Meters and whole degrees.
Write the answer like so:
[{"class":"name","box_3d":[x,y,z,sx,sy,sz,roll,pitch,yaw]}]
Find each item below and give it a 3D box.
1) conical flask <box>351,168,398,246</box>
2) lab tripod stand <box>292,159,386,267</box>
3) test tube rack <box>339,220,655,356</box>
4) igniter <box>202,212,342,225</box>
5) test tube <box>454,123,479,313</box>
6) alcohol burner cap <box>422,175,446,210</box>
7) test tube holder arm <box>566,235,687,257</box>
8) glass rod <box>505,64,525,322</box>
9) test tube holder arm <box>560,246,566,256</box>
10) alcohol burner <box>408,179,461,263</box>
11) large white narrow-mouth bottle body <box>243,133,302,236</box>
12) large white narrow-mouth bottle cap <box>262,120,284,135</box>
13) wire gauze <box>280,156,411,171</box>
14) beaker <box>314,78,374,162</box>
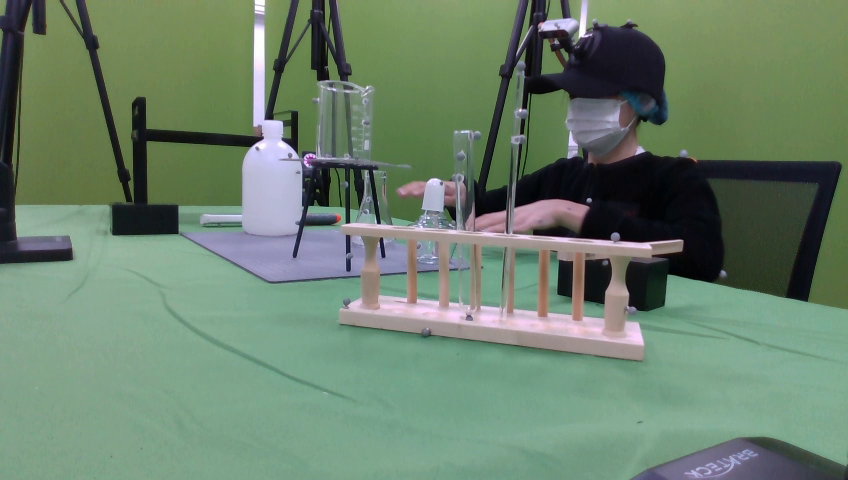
[{"class":"conical flask","box_3d":[-0.078,-0.053,0.962,0.075,0.122,0.075,2,7,0]},{"class":"lab tripod stand","box_3d":[-0.105,-0.039,0.797,0.148,0.131,0.148,2,5,0]},{"class":"test tube rack","box_3d":[0.056,0.032,0.495,0.242,0.085,0.067,4,7,15]},{"class":"igniter","box_3d":[-0.298,-0.044,1.216,0.278,0.025,0.057,-3,-2,-32]},{"class":"test tube","box_3d":[0.034,-0.016,0.477,0.017,0.150,0.017,-2,9,1]},{"class":"alcohol burner cap","box_3d":[0.016,-0.065,0.830,0.034,0.048,0.034,7,4,0]},{"class":"test tube holder arm","box_3d":[0.215,0.006,0.630,0.179,0.015,0.013,-3,9,-30]},{"class":"glass rod","box_3d":[0.069,-0.030,0.458,0.008,0.199,0.008,0,15,0]},{"class":"test tube holder arm","box_3d":[0.173,0.007,0.611,0.088,0.015,0.010,-3,9,-30]},{"class":"alcohol burner","box_3d":[0.014,-0.029,0.834,0.078,0.119,0.078,0,6,0]},{"class":"large white narrow-mouth bottle body","box_3d":[-0.265,-0.109,1.061,0.102,0.194,0.102,2,8,0]},{"class":"large white narrow-mouth bottle cap","box_3d":[-0.262,-0.195,1.048,0.038,0.024,0.037,2,8,0]},{"class":"wire gauze","box_3d":[-0.103,-0.103,0.785,0.121,0.011,0.126,11,8,42]},{"class":"beaker","box_3d":[-0.101,-0.151,0.775,0.074,0.100,0.083,-2,8,-39]}]
